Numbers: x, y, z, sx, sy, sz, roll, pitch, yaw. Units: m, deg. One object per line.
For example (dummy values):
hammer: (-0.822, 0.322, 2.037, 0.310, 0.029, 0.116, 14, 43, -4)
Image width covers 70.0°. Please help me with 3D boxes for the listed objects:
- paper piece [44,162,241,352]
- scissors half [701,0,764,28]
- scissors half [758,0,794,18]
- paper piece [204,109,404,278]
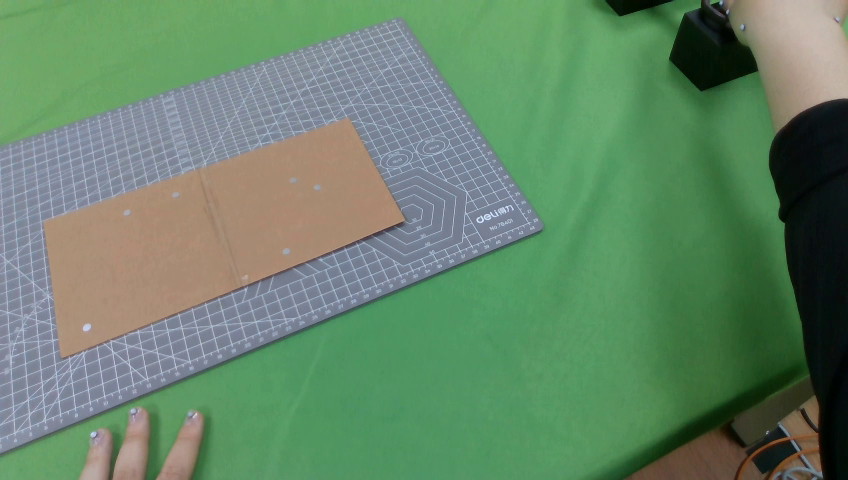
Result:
paper piece: (-0.225, 0.005, 0.478, 0.138, 0.009, 0.134, -22, 55, -10)
scissors half: (0.249, -0.248, 0.553, 0.040, 0.013, 0.173, -14, 56, -6)
scissors half: (0.267, -0.256, 0.555, 0.040, 0.013, 0.173, -30, 59, -10)
paper piece: (-0.103, -0.045, 0.502, 0.135, 0.004, 0.134, -22, 57, -10)
